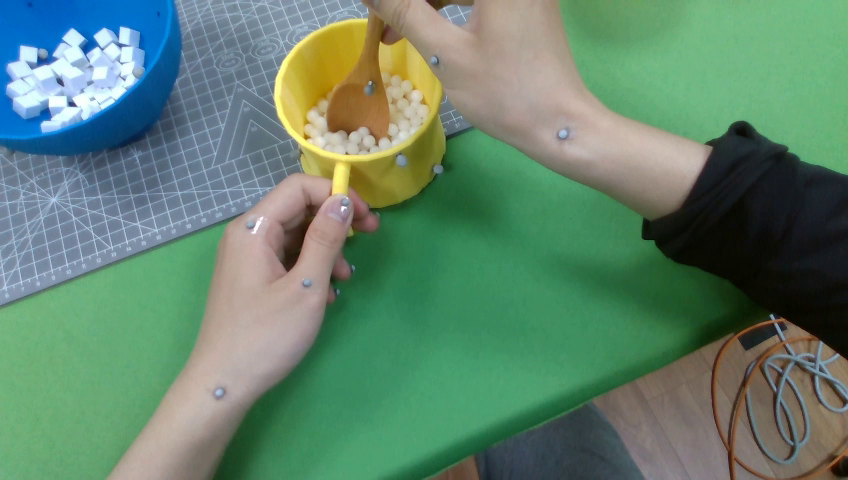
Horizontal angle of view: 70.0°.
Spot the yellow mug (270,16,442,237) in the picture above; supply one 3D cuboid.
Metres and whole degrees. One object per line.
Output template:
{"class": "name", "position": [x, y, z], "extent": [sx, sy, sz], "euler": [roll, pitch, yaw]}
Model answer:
{"class": "yellow mug", "position": [-0.041, -0.065, 0.377], "extent": [0.100, 0.064, 0.130], "euler": [6, 71, 4]}

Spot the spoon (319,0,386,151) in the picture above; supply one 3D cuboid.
{"class": "spoon", "position": [-0.028, -0.117, 0.327], "extent": [0.042, 0.194, 0.021], "euler": [20, 56, -4]}

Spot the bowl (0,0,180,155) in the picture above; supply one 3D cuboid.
{"class": "bowl", "position": [-0.224, -0.112, 0.395], "extent": [0.151, 0.077, 0.150], "euler": [-1, 69, 2]}
